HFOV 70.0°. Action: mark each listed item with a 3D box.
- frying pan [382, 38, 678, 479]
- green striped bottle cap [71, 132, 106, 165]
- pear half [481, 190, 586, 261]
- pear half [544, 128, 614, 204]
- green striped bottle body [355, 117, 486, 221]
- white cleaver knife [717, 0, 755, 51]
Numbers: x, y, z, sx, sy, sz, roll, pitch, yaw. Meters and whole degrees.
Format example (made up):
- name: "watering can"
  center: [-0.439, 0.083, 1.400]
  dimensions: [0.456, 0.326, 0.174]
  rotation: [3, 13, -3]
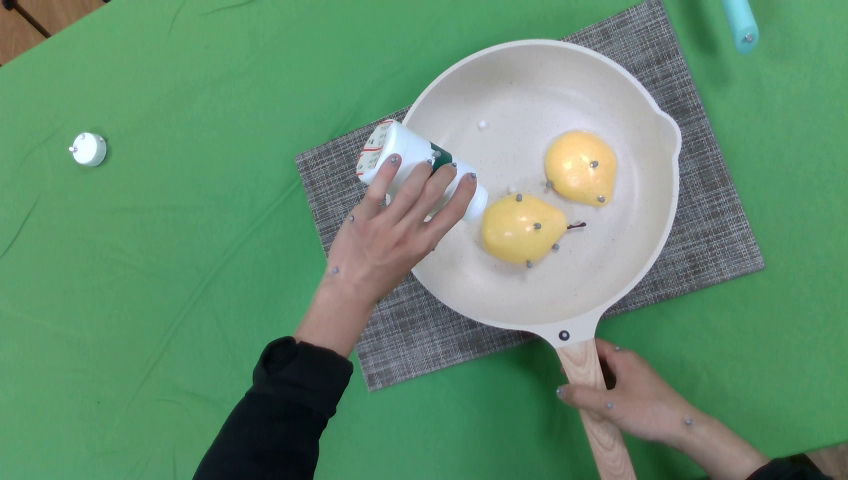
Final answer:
- name: "frying pan"
  center: [0.130, 0.041, 0.610]
  dimensions: [0.306, 0.103, 0.485]
  rotation: [-18, 76, 16]
- name: "green striped bottle cap"
  center: [-0.455, -0.124, 0.823]
  dimensions: [0.044, 0.020, 0.044]
  rotation: [0, 89, 16]
- name: "pear half"
  center: [0.115, -0.017, 0.639]
  dimensions: [0.109, 0.056, 0.076]
  rotation: [-7, 93, 13]
- name: "pear half"
  center: [0.164, -0.078, 0.637]
  dimensions: [0.070, 0.031, 0.087]
  rotation: [-36, 77, 17]
- name: "green striped bottle body"
  center: [0.001, -0.060, 0.567]
  dimensions: [0.120, 0.062, 0.063]
  rotation: [26, 98, -27]
- name: "white cleaver knife"
  center: [0.270, -0.320, 0.597]
  dimensions: [0.021, 0.066, 0.285]
  rotation: [-18, 83, 20]
